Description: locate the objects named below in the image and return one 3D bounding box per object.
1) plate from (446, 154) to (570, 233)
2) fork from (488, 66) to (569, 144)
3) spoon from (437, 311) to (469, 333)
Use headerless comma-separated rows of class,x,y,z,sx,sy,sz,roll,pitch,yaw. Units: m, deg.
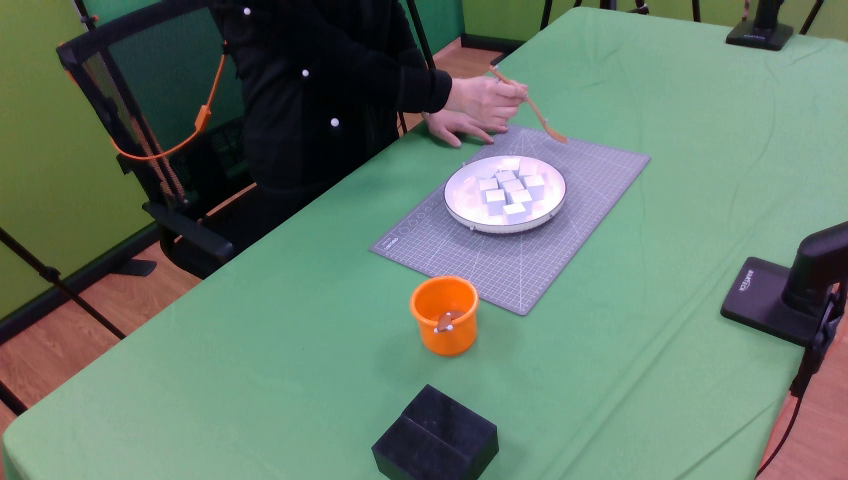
plate,0.142,-0.076,1.033,0.207,0.039,0.206,-5,40,5
fork,0.185,-0.233,1.057,0.018,0.209,0.028,-35,30,29
spoon,0.030,0.102,0.761,0.041,0.194,0.021,3,85,8
